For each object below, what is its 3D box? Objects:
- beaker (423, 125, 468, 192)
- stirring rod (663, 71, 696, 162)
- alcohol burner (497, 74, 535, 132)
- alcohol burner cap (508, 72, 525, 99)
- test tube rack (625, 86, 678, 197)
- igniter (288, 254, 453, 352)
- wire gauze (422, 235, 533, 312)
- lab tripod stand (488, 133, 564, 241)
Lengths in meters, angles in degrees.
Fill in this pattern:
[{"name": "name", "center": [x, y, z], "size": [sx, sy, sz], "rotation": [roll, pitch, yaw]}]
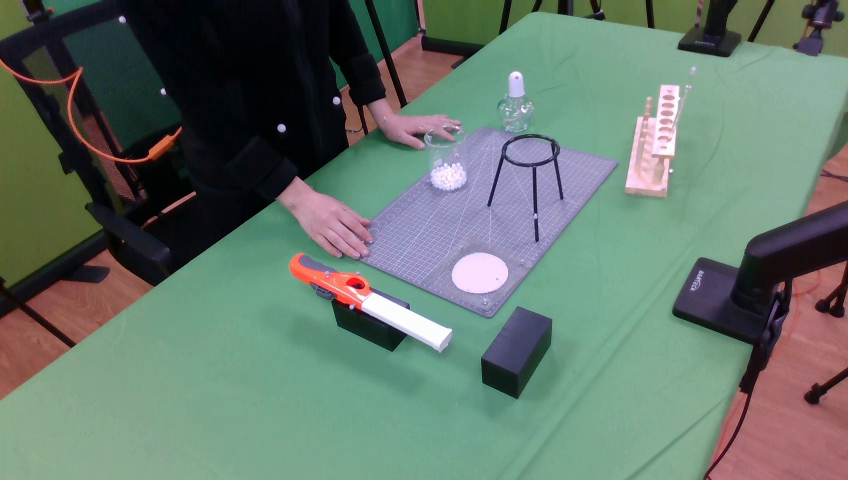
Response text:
[{"name": "beaker", "center": [0.042, -0.144, 1.078], "size": [0.073, 0.100, 0.084], "rotation": [28, 51, 33]}, {"name": "stirring rod", "center": [0.410, -0.195, 0.981], "size": [0.014, 0.177, 0.006], "rotation": [11, 50, 13]}, {"name": "alcohol burner", "center": [0.184, -0.278, 1.210], "size": [0.078, 0.119, 0.077], "rotation": [-3, 42, 3]}, {"name": "alcohol burner cap", "center": [0.181, -0.306, 1.186], "size": [0.034, 0.048, 0.033], "rotation": [-7, 39, 6]}, {"name": "test tube rack", "center": [0.412, -0.184, 1.088], "size": [0.066, 0.085, 0.242], "rotation": [9, 43, 18]}, {"name": "igniter", "center": [-0.083, 0.079, 0.818], "size": [0.274, 0.025, 0.057], "rotation": [23, 46, 27]}, {"name": "wire gauze", "center": [0.081, 0.049, 0.914], "size": [0.120, 0.011, 0.125], "rotation": [26, 52, 32]}, {"name": "lab tripod stand", "center": [0.168, -0.092, 0.972], "size": [0.148, 0.132, 0.147], "rotation": [-5, 41, 5]}]
